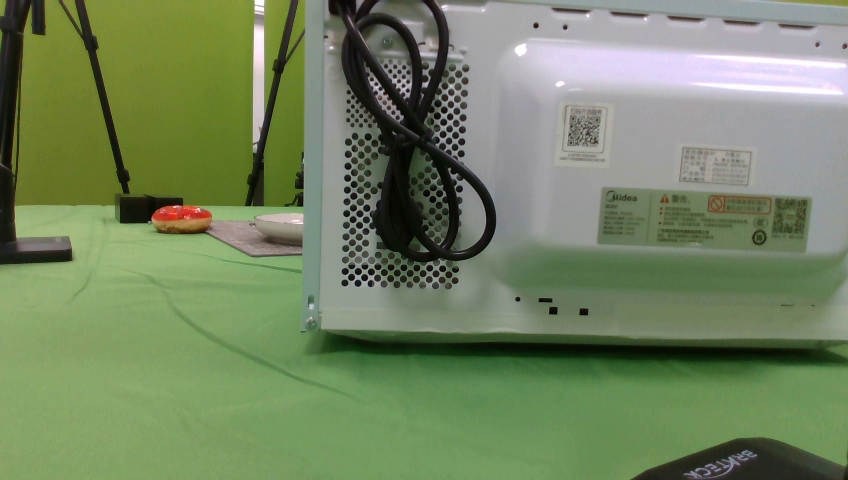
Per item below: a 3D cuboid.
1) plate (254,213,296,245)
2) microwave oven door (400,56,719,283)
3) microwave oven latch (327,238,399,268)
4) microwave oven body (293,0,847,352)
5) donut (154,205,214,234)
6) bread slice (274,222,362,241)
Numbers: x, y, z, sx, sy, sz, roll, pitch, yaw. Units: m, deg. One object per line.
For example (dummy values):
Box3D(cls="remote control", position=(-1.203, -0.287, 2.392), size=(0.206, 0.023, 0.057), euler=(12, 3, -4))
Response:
Box3D(cls="plate", position=(-0.177, -0.018, 1.017), size=(0.208, 0.039, 0.207), euler=(2, 7, 0))
Box3D(cls="microwave oven door", position=(0.155, -0.077, 0.697), size=(0.356, 0.243, 0.039), euler=(2, 8, -5))
Box3D(cls="microwave oven latch", position=(-0.069, 0.015, 0.694), size=(0.079, 0.029, 0.030), euler=(3, 7, -3))
Box3D(cls="microwave oven body", position=(0.122, -0.055, 0.550), size=(0.442, 0.260, 0.325), euler=(3, 7, -5))
Box3D(cls="donut", position=(-0.426, -0.037, 1.075), size=(0.099, 0.048, 0.099), euler=(2, 12, 0))
Box3D(cls="bread slice", position=(-0.181, -0.016, 1.011), size=(0.104, 0.019, 0.132), euler=(6, 8, 27))
